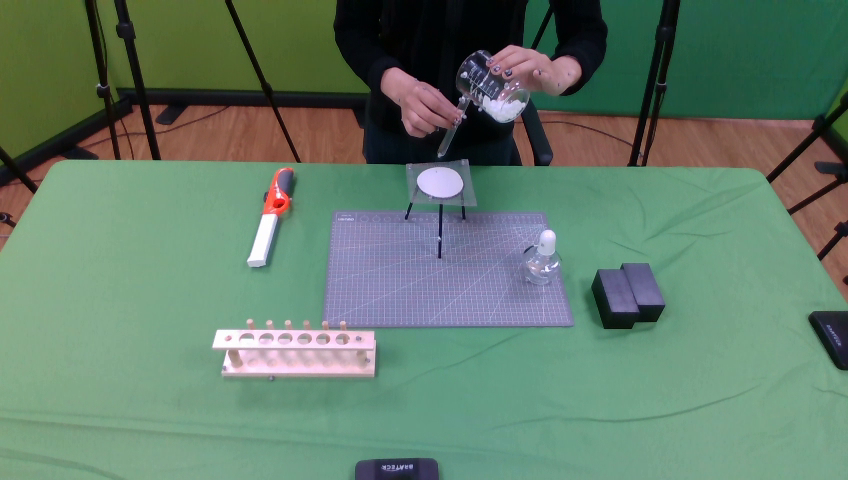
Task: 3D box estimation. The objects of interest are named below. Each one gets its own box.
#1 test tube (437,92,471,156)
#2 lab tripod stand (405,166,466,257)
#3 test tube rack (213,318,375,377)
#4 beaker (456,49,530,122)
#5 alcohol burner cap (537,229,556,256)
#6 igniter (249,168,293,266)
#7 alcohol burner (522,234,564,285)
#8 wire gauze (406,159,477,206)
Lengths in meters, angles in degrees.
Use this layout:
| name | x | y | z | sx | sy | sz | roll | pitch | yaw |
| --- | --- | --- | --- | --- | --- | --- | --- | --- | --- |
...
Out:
| name | x | y | z | sx | sy | sz | roll | pitch | yaw |
| --- | --- | --- | --- | --- | --- | --- | --- | --- | --- |
| test tube | 0.050 | -0.196 | 1.044 | 0.017 | 0.150 | 0.017 | 9 | 56 | -13 |
| lab tripod stand | 0.030 | -0.063 | 1.180 | 0.148 | 0.132 | 0.147 | 3 | 47 | -3 |
| test tube rack | -0.202 | 0.169 | 0.977 | 0.242 | 0.085 | 0.066 | 1 | 46 | -3 |
| beaker | 0.107 | -0.234 | 0.937 | 0.074 | 0.084 | 0.099 | -17 | 52 | -37 |
| alcohol burner cap | 0.223 | 0.001 | 1.095 | 0.034 | 0.048 | 0.033 | -1 | 44 | 1 |
| igniter | -0.307 | -0.055 | 1.225 | 0.057 | 0.025 | 0.275 | -3 | 45 | 6 |
| alcohol burner | 0.223 | 0.027 | 1.120 | 0.078 | 0.119 | 0.077 | 2 | 48 | -2 |
| wire gauze | 0.031 | -0.108 | 1.129 | 0.125 | 0.011 | 0.120 | -1 | 48 | -5 |
